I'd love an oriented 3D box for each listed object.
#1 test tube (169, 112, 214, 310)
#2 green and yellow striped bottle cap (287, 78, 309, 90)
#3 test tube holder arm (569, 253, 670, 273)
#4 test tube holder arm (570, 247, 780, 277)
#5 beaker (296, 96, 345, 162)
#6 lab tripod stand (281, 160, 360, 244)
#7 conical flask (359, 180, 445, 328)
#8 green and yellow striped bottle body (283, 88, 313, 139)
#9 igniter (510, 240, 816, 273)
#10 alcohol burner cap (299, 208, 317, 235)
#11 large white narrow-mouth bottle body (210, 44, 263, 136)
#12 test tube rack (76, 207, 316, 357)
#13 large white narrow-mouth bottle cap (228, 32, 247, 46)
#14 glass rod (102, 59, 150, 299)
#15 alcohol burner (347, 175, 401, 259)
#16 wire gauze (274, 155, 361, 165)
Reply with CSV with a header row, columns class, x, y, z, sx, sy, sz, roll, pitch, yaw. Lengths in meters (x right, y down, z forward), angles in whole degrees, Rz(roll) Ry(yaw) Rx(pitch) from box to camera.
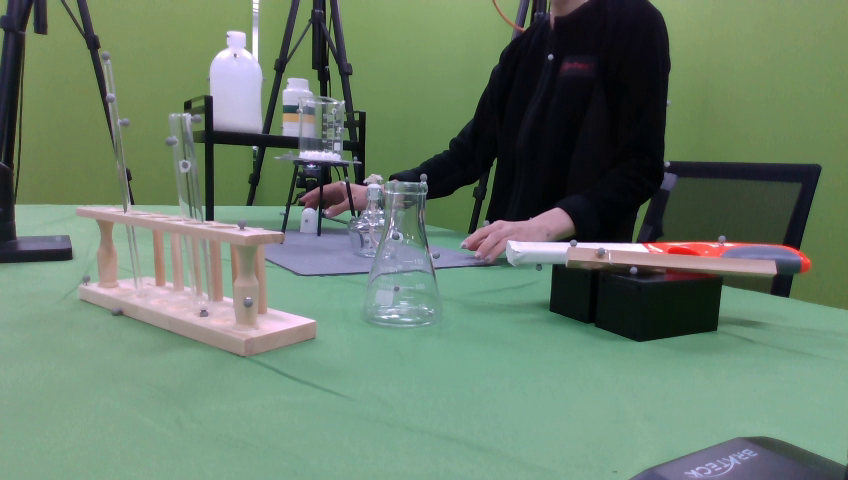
class,x,y,z,sx,sy,sz,roll,pitch,yaw
test tube,-0.175,-0.020,0.455,0.017,0.150,0.017,-3,9,1
green and yellow striped bottle cap,-0.265,-0.326,1.268,0.045,0.020,0.045,4,6,0
test tube holder arm,0.172,0.019,0.532,0.088,0.015,0.010,3,-23,3
test tube holder arm,0.217,0.019,0.525,0.178,0.015,0.013,3,-23,3
beaker,-0.163,-0.175,0.966,0.083,0.100,0.074,8,8,34
lab tripod stand,-0.170,-0.063,0.983,0.148,0.131,0.148,1,6,0
conical flask,-0.017,0.010,0.522,0.075,0.122,0.075,2,7,0
green and yellow striped bottle body,-0.266,-0.275,1.275,0.063,0.119,0.063,3,7,0
igniter,0.220,0.015,0.565,0.277,0.025,0.057,2,16,0
alcohol burner cap,-0.212,-0.034,1.110,0.034,0.048,0.034,6,4,0
large white narrow-mouth bottle body,-0.369,-0.305,1.194,0.102,0.194,0.102,3,8,0
test tube rack,-0.196,0.023,0.499,0.241,0.085,0.067,8,9,36
large white narrow-mouth bottle cap,-0.364,-0.390,1.180,0.038,0.024,0.037,3,8,0
glass rod,-0.244,-0.045,0.496,0.008,0.199,0.008,-3,13,1
alcohol burner,-0.071,-0.034,0.867,0.078,0.119,0.078,0,7,0
wire gauze,-0.174,-0.129,0.978,0.125,0.011,0.121,-2,6,-19
